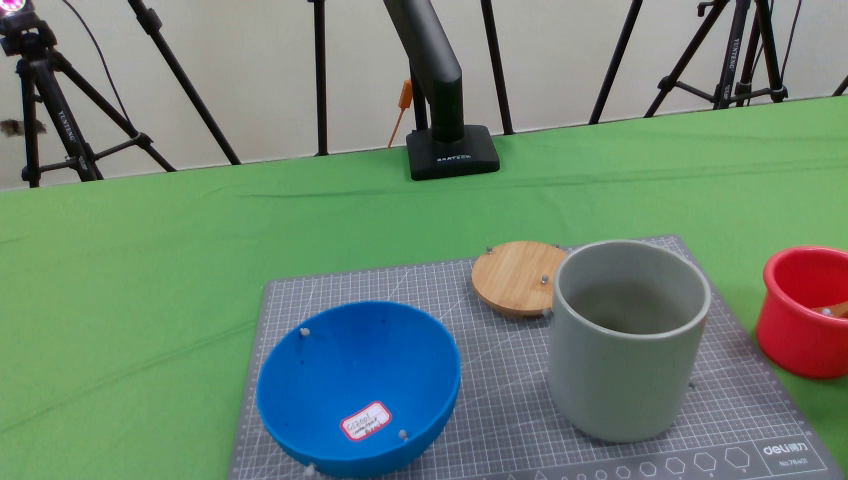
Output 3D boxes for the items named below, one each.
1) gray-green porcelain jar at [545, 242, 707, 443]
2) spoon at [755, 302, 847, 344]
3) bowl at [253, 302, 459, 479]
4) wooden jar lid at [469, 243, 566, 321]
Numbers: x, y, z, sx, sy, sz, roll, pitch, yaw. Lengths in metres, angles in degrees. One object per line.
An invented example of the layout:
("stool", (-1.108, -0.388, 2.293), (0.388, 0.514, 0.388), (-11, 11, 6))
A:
("gray-green porcelain jar", (0.146, 0.082, 0.460), (0.106, 0.127, 0.105), (-4, 37, 3))
("spoon", (0.357, 0.047, 0.471), (0.022, 0.194, 0.041), (50, 45, -6))
("bowl", (-0.046, 0.126, 0.466), (0.151, 0.077, 0.150), (-3, 37, 3))
("wooden jar lid", (0.099, 0.043, 0.608), (0.108, 0.021, 0.107), (-4, 36, 3))
